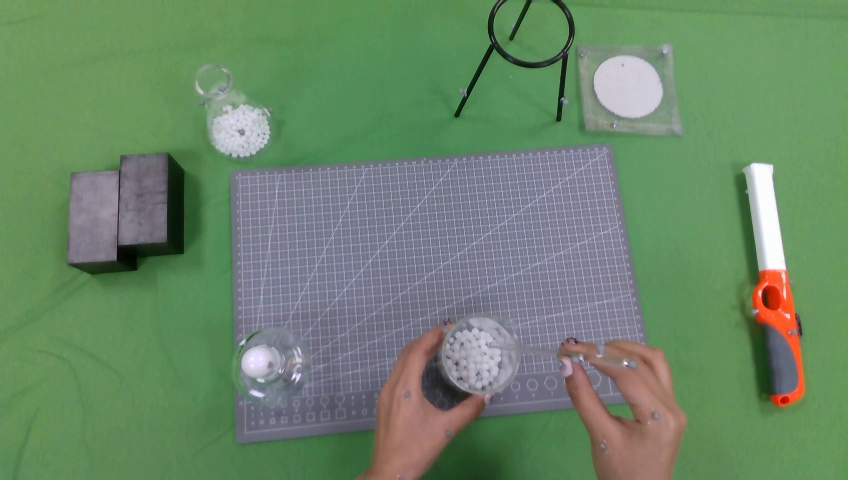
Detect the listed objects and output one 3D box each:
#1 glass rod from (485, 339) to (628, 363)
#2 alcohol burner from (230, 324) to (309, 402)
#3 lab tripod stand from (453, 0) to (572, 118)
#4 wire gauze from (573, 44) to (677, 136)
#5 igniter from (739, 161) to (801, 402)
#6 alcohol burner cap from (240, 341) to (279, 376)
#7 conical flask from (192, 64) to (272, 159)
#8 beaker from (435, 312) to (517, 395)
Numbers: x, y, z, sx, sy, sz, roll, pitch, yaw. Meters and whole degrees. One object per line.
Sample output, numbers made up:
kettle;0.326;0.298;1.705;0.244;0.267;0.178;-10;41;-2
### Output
glass rod;0.097;0.088;0.493;0.008;0.199;0.008;2;84;-21
alcohol burner;-0.155;0.119;0.594;0.078;0.119;0.077;0;75;-1
lab tripod stand;0.102;-0.200;0.680;0.148;0.132;0.147;1;78;-3
wire gauze;0.250;-0.189;0.750;0.125;0.011;0.121;1;77;-5
igniter;0.393;0.042;0.691;0.057;0.025;0.275;3;76;-13
alcohol burner cap;-0.153;0.109;0.559;0.034;0.048;0.033;1;79;-6
conical flask;-0.213;-0.142;0.654;0.075;0.122;0.075;1;75;-2
beaker;0.050;0.113;0.609;0.074;0.100;0.084;41;77;6
